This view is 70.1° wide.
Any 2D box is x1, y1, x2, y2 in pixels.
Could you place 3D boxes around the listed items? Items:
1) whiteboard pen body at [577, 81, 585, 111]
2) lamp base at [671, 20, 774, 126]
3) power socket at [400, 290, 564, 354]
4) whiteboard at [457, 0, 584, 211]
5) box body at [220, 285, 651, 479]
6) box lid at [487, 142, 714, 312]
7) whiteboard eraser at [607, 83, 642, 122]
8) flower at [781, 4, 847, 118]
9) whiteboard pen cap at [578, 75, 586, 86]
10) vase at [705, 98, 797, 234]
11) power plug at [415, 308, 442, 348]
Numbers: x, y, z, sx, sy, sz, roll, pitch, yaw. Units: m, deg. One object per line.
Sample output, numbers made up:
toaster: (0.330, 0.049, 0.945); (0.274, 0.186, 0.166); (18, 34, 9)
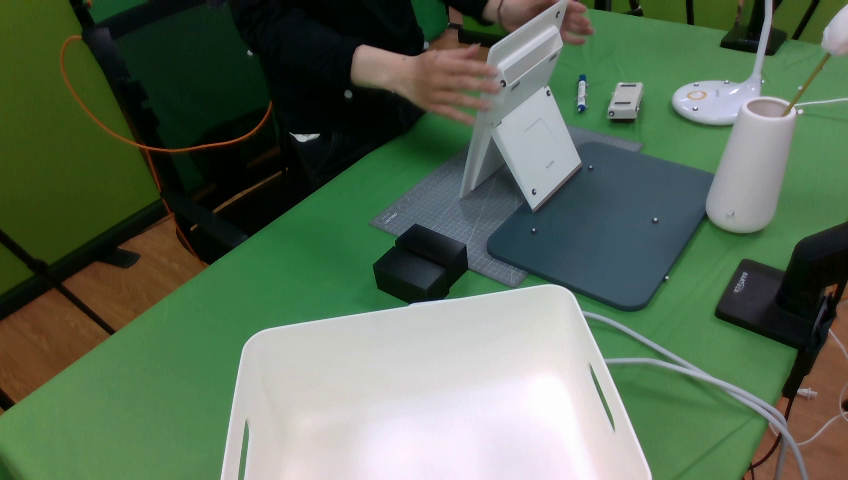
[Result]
whiteboard pen body: (0.335, -0.313, 1.292); (0.017, 0.017, 0.140); (3, 40, 12)
lamp base: (0.581, -0.332, 1.154); (0.179, 0.181, 0.160); (2, 41, 7)
power socket: (0.079, 0.111, 0.823); (0.227, 0.033, 0.072); (-6, 41, 1)
whiteboard: (0.193, -0.191, 0.983); (0.143, 0.306, 0.218); (36, 55, 20)
box body: (0.005, 0.211, 0.616); (0.364, 0.161, 0.252); (-9, 40, -2)
box lid: (0.298, -0.041, 0.986); (0.261, 0.015, 0.372); (23, 49, 30)
whiteboard eraser: (0.406, -0.277, 1.222); (0.055, 0.042, 0.112); (9, 43, 22)
flower: (0.480, -0.157, 0.823); (0.044, 0.362, 0.038); (-8, 56, -9)
whiteboard pen cap: (0.349, -0.351, 1.334); (0.018, 0.018, 0.033); (3, 39, 12)
vase: (0.480, -0.104, 0.888); (0.098, 0.201, 0.097); (-4, 42, 4)
power plug: (0.004, 0.121, 0.786); (0.035, 0.053, 0.072); (1, 45, 8)
